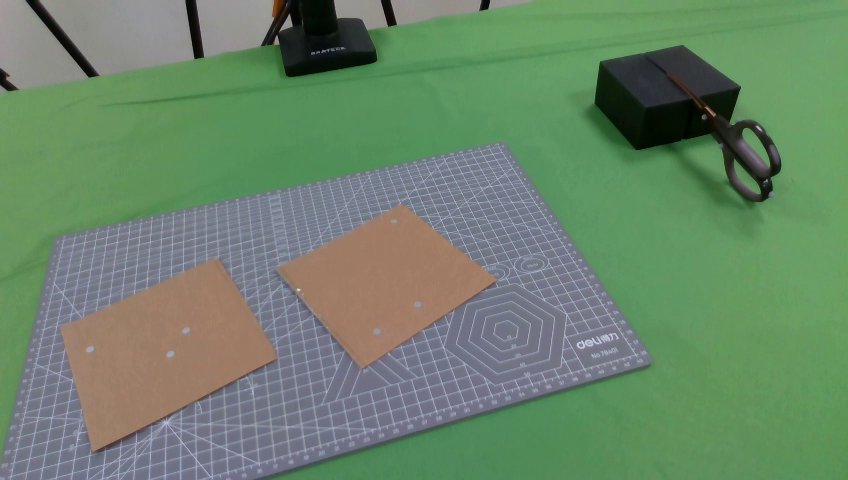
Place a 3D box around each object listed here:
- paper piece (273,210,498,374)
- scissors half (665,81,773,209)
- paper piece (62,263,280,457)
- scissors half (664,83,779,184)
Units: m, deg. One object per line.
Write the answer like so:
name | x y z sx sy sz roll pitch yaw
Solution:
paper piece | -0.034 0.034 0.508 0.138 0.009 0.134 -28 51 -25
scissors half | 0.276 -0.096 0.582 0.013 0.040 0.173 -19 58 -3
paper piece | -0.200 0.082 0.469 0.136 0.004 0.134 -25 46 -22
scissors half | 0.271 -0.109 0.567 0.013 0.040 0.173 -22 40 1
